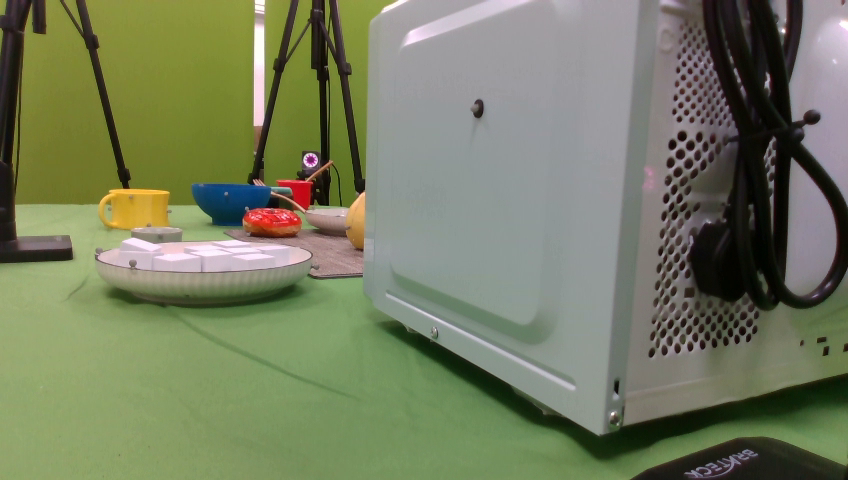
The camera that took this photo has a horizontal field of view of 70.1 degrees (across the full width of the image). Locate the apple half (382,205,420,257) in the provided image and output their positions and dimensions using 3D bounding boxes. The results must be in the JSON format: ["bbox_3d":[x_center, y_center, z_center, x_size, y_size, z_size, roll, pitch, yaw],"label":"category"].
[{"bbox_3d":[-0.039,-0.015,0.859,0.032,0.081,0.082,12,11,33],"label":"apple half"}]

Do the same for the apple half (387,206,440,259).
[{"bbox_3d":[-0.007,-0.009,0.838,0.053,0.074,0.081,12,7,33],"label":"apple half"}]

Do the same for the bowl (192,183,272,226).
[{"bbox_3d":[-0.381,-0.071,1.202,0.151,0.077,0.151,3,7,0],"label":"bowl"}]

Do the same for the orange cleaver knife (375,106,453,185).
[{"bbox_3d":[-0.011,-0.123,0.912,0.012,0.077,0.212,-16,-32,27],"label":"orange cleaver knife"}]

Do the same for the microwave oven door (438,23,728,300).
[{"bbox_3d":[0.181,-0.073,0.621,0.358,0.243,0.039,-2,8,-29],"label":"microwave oven door"}]

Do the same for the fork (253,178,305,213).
[{"bbox_3d":[-0.294,-0.084,1.293,0.206,0.018,0.028,29,12,26],"label":"fork"}]

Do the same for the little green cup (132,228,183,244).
[{"bbox_3d":[-0.342,0.006,0.779,0.061,0.038,0.061,2,8,0],"label":"little green cup"}]

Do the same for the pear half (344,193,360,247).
[{"bbox_3d":[-0.104,-0.033,0.928,0.031,0.088,0.070,5,13,18],"label":"pear half"}]

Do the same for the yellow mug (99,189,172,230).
[{"bbox_3d":[-0.518,-0.055,1.080,0.099,0.064,0.131,7,10,26],"label":"yellow mug"}]

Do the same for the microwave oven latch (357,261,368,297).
[{"bbox_3d":[-0.019,0.033,0.531,0.079,0.029,0.030,-1,7,-27],"label":"microwave oven latch"}]

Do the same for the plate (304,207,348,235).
[{"bbox_3d":[-0.123,-0.037,1.149,0.209,0.038,0.209,2,7,0],"label":"plate"}]

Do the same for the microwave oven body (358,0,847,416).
[{"bbox_3d":[0.211,-0.047,0.475,0.444,0.260,0.324,-1,7,-28],"label":"microwave oven body"}]

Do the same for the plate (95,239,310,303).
[{"bbox_3d":[-0.224,0.031,0.629,0.208,0.039,0.207,2,7,0],"label":"plate"}]

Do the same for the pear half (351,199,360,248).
[{"bbox_3d":[-0.071,-0.040,0.915,0.056,0.110,0.076,4,12,19],"label":"pear half"}]

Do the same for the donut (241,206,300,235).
[{"bbox_3d":[-0.263,-0.031,1.039,0.099,0.048,0.099,4,10,0],"label":"donut"}]

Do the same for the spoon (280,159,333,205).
[{"bbox_3d":[-0.316,-0.159,1.639,0.194,0.022,0.041,-49,32,-20],"label":"spoon"}]

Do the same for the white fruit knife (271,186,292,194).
[{"bbox_3d":[-0.399,-0.111,1.368,0.208,0.016,0.027,-4,-19,-29],"label":"white fruit knife"}]
